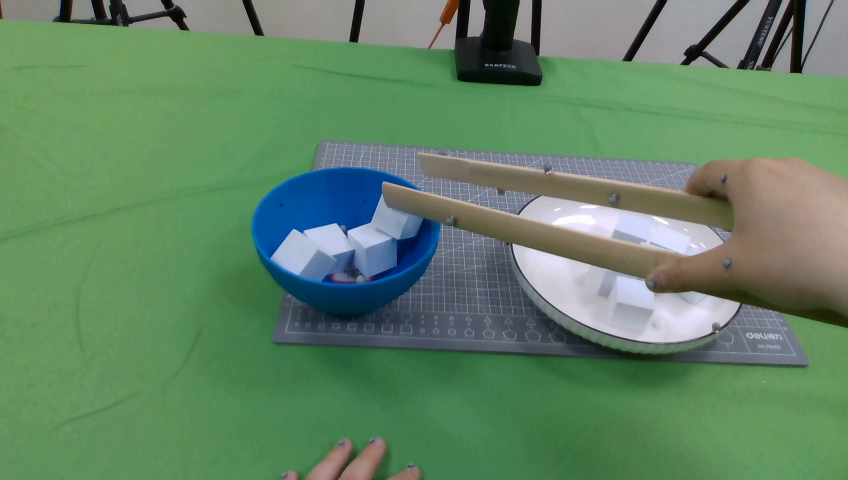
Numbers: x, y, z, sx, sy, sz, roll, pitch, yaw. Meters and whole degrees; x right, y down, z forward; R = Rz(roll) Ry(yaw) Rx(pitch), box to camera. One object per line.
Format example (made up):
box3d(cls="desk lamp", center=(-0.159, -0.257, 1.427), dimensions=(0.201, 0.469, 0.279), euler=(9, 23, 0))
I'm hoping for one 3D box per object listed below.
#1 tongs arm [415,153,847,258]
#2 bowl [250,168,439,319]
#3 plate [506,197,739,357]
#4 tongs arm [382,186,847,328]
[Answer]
box3d(cls="tongs arm", center=(0.147, -0.013, 0.404), dimensions=(0.382, 0.027, 0.050), euler=(13, 45, 29))
box3d(cls="bowl", center=(-0.065, 0.013, 0.510), dimensions=(0.151, 0.077, 0.150), euler=(4, 41, -3))
box3d(cls="plate", center=(0.176, 0.028, 0.554), dimensions=(0.208, 0.039, 0.205), euler=(4, 41, -3))
box3d(cls="tongs arm", center=(0.130, 0.006, 0.386), dimensions=(0.385, 0.028, 0.028), euler=(14, 43, 30))
